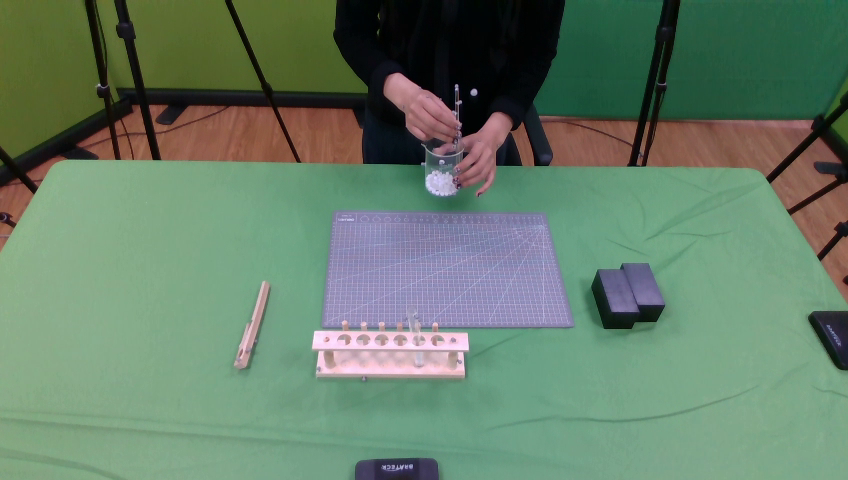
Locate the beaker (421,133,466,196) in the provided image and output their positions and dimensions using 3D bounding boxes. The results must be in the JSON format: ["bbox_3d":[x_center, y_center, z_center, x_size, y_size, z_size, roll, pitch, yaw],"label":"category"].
[{"bbox_3d":[0.034,-0.140,1.145,0.084,0.101,0.073,12,43,12],"label":"beaker"}]

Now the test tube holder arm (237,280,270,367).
[{"bbox_3d":[-0.291,0.140,1.042,0.013,0.015,0.177,-17,41,22],"label":"test tube holder arm"}]

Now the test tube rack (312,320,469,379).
[{"bbox_3d":[-0.054,0.173,0.984,0.242,0.085,0.066,1,46,-3],"label":"test tube rack"}]

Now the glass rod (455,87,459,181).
[{"bbox_3d":[0.060,-0.187,1.099,0.008,0.201,0.008,-2,43,2],"label":"glass rod"}]

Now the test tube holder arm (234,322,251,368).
[{"bbox_3d":[-0.299,0.173,1.013,0.010,0.015,0.087,-17,41,22],"label":"test tube holder arm"}]

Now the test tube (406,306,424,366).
[{"bbox_3d":[-0.013,0.152,0.939,0.017,0.151,0.017,-3,48,3],"label":"test tube"}]
